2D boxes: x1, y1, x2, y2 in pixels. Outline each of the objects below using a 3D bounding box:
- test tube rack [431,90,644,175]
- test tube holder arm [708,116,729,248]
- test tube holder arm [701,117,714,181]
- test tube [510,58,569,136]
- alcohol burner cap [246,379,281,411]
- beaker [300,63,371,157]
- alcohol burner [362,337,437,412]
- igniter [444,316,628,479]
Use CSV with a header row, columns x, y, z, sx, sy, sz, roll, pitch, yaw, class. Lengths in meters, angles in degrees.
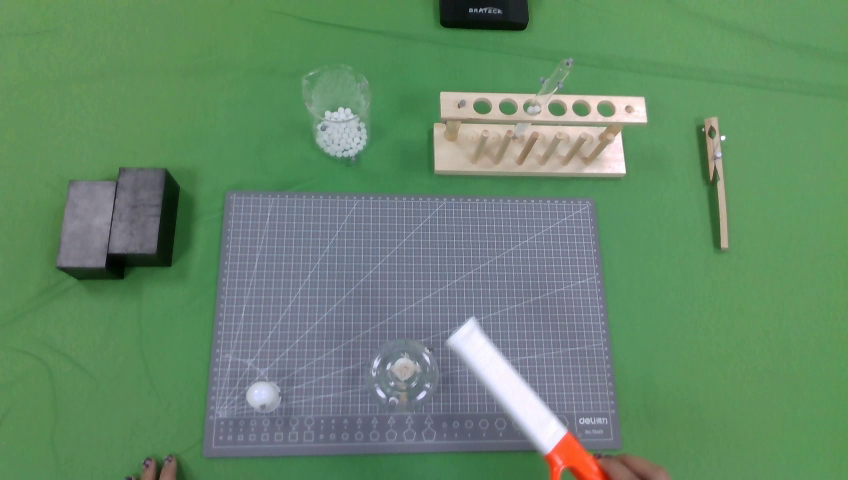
x,y,z,sx,sy,sz,roll,pitch,yaw,class
0.134,-0.128,0.736,0.243,0.085,0.066,0,72,-5,test tube rack
0.376,-0.077,0.777,0.013,0.015,0.177,-9,71,28,test tube holder arm
0.372,-0.119,0.792,0.010,0.015,0.087,-8,71,28,test tube holder arm
0.128,-0.159,0.692,0.017,0.150,0.017,4,71,-11,test tube
-0.170,0.161,0.635,0.034,0.048,0.033,2,73,-5,alcohol burner cap
-0.103,-0.149,0.712,0.084,0.101,0.073,28,72,5,beaker
-0.024,0.134,0.620,0.078,0.119,0.077,2,70,-6,alcohol burner
0.118,0.181,0.523,0.057,0.025,0.276,-40,87,-23,igniter
